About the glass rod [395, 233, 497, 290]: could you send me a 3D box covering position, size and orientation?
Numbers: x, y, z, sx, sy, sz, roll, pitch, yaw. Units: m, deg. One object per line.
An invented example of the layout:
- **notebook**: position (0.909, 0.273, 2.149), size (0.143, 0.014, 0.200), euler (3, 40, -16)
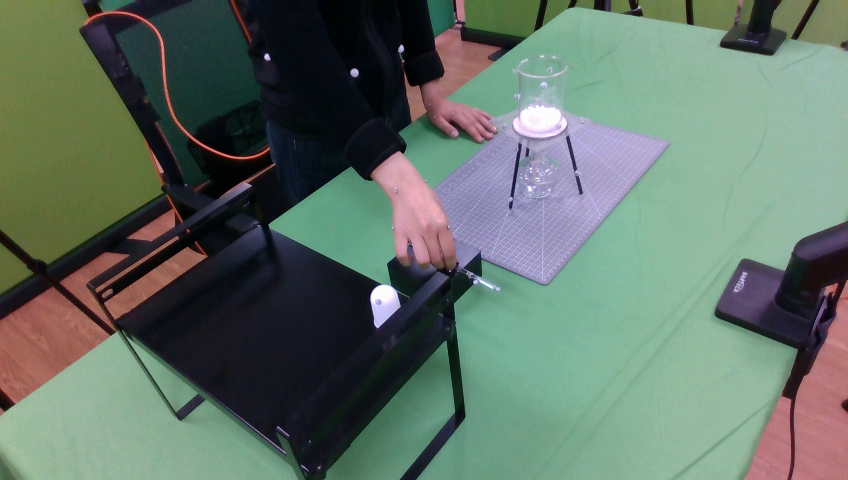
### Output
- **glass rod**: position (0.027, 0.029, 0.872), size (0.198, 0.008, 0.008), euler (28, 51, 36)

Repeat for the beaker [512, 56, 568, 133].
- **beaker**: position (0.181, -0.225, 0.946), size (0.084, 0.101, 0.074), euler (3, 41, 12)

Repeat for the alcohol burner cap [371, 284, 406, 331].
- **alcohol burner cap**: position (-0.037, 0.065, 0.608), size (0.034, 0.048, 0.033), euler (-4, 41, 4)

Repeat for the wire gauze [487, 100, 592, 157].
- **wire gauze**: position (0.185, -0.187, 0.975), size (0.122, 0.011, 0.124), euler (-28, 47, -22)

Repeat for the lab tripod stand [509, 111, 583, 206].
- **lab tripod stand**: position (0.198, -0.139, 1.019), size (0.148, 0.132, 0.147), euler (-3, 39, 3)

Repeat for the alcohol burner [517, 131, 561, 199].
- **alcohol burner**: position (0.193, -0.131, 1.026), size (0.078, 0.119, 0.077), euler (-4, 38, 4)
